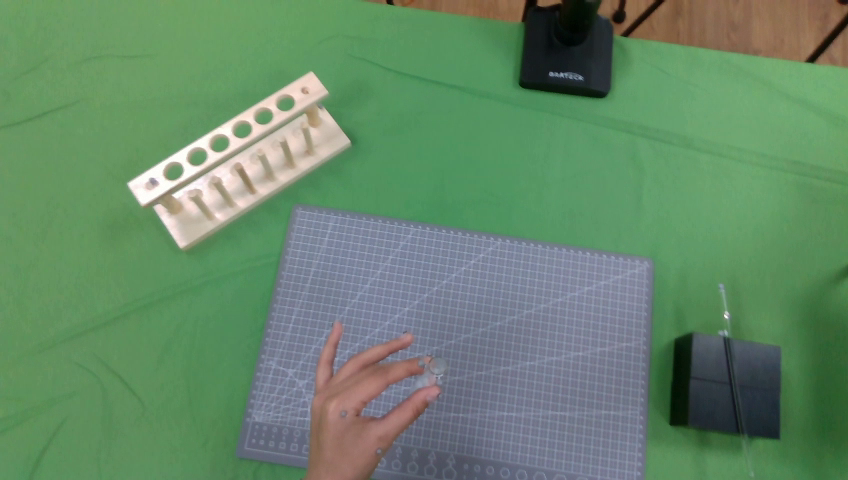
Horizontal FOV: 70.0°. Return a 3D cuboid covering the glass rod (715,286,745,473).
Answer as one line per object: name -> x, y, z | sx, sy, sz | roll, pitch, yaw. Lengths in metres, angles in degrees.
glass rod -> 0.333, 0.148, 0.660 | 0.008, 0.008, 0.198 | 0, 74, -2

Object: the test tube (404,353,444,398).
test tube -> -0.002, 0.123, 0.537 | 0.017, 0.151, 0.017 | 3, 67, -7

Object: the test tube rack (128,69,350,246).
test tube rack -> -0.210, -0.097, 0.721 | 0.242, 0.085, 0.066 | -34, 77, -11
